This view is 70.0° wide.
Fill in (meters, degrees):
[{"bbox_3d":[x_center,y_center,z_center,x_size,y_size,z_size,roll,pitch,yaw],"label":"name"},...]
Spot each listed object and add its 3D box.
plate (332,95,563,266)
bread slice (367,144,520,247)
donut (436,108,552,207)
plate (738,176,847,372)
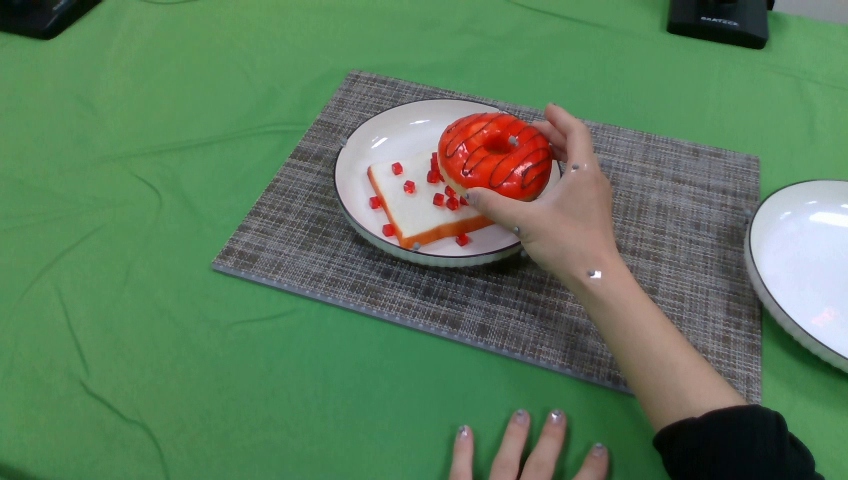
[{"bbox_3d":[0.021,-0.056,0.562,0.209,0.038,0.207,0,51,0],"label":"plate"},{"bbox_3d":[0.022,-0.052,0.562,0.132,0.019,0.103,-18,54,-13],"label":"bread slice"},{"bbox_3d":[0.059,-0.071,0.510,0.099,0.048,0.098,5,54,-7],"label":"donut"},{"bbox_3d":[0.365,0.033,0.502,0.208,0.039,0.205,1,51,0],"label":"plate"}]
